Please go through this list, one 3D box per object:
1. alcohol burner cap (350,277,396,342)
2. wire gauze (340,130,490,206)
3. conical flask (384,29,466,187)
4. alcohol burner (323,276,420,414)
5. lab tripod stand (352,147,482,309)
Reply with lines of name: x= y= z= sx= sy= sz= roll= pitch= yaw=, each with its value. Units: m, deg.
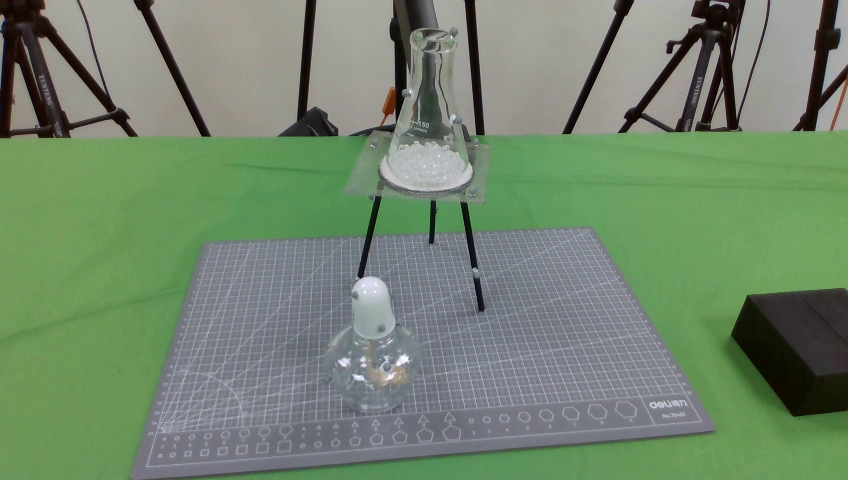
alcohol burner cap: x=-0.040 y=0.050 z=0.455 sx=0.034 sy=0.048 sz=0.033 roll=-3 pitch=38 yaw=3
wire gauze: x=-0.003 y=-0.066 z=0.554 sx=0.121 sy=0.011 sz=0.124 roll=6 pitch=37 yaw=5
conical flask: x=0.003 y=-0.113 z=0.517 sx=0.075 sy=0.123 sz=0.074 roll=2 pitch=36 yaw=-1
alcohol burner: x=-0.041 y=0.079 z=0.476 sx=0.078 sy=0.120 sz=0.077 roll=1 pitch=33 yaw=0
lab tripod stand: x=0.002 y=-0.012 z=0.592 sx=0.148 sy=0.132 sz=0.147 roll=3 pitch=34 yaw=-2
